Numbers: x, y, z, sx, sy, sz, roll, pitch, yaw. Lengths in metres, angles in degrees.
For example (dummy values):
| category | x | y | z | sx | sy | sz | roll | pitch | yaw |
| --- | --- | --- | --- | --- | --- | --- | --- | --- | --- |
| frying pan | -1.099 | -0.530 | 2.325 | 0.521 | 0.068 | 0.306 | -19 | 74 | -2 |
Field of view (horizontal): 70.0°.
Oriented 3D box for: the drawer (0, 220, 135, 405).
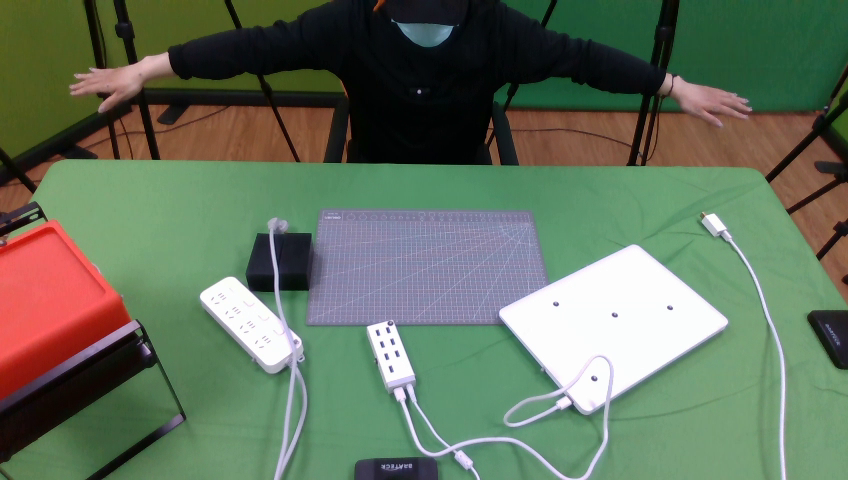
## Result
| category | x | y | z | sx | sy | sz | roll | pitch | yaw |
| --- | --- | --- | --- | --- | --- | --- | --- | --- | --- |
| drawer | -0.522 | 0.093 | 0.782 | 0.193 | 0.073 | 0.211 | 38 | 55 | 27 |

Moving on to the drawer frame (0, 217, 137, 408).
| category | x | y | z | sx | sy | sz | roll | pitch | yaw |
| --- | --- | --- | --- | --- | --- | --- | --- | --- | --- |
| drawer frame | -0.523 | 0.094 | 0.779 | 0.200 | 0.083 | 0.213 | 37 | 55 | 26 |

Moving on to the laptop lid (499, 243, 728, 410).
| category | x | y | z | sx | sy | sz | roll | pitch | yaw |
| --- | --- | --- | --- | --- | --- | --- | --- | --- | --- |
| laptop lid | 0.338 | 0.135 | 1.081 | 0.357 | 0.013 | 0.240 | -21 | 50 | -23 |

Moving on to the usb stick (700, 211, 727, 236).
| category | x | y | z | sx | sy | sz | roll | pitch | yaw |
| --- | --- | --- | --- | --- | --- | --- | --- | --- | --- |
| usb stick | 0.605 | -0.038 | 1.273 | 0.027 | 0.021 | 0.059 | -18 | 56 | -20 |

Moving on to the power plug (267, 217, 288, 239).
| category | x | y | z | sx | sy | sz | roll | pitch | yaw |
| --- | --- | --- | --- | --- | --- | --- | --- | --- | --- |
| power plug | -0.286 | -0.014 | 1.168 | 0.035 | 0.053 | 0.072 | -14 | 37 | 23 |

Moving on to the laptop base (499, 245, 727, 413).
| category | x | y | z | sx | sy | sz | roll | pitch | yaw |
| --- | --- | --- | --- | --- | --- | --- | --- | --- | --- |
| laptop base | 0.339 | 0.145 | 1.088 | 0.354 | 0.023 | 0.234 | -23 | 49 | -24 |

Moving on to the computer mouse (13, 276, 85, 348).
| category | x | y | z | sx | sy | sz | roll | pitch | yaw |
| --- | --- | --- | --- | --- | --- | --- | --- | --- | --- |
| computer mouse | -0.497 | 0.090 | 0.804 | 0.063 | 0.041 | 0.116 | -7 | 42 | -7 |

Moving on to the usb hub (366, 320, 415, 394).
| category | x | y | z | sx | sy | sz | roll | pitch | yaw |
| --- | --- | --- | --- | --- | --- | --- | --- | --- | --- |
| usb hub | -0.056 | 0.192 | 1.009 | 0.049 | 0.025 | 0.124 | -12 | 49 | -16 |

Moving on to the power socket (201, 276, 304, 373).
| category | x | y | z | sx | sy | sz | roll | pitch | yaw |
| --- | --- | --- | --- | --- | --- | --- | --- | --- | --- |
| power socket | -0.296 | 0.141 | 1.034 | 0.225 | 0.033 | 0.072 | 37 | 55 | 26 |
